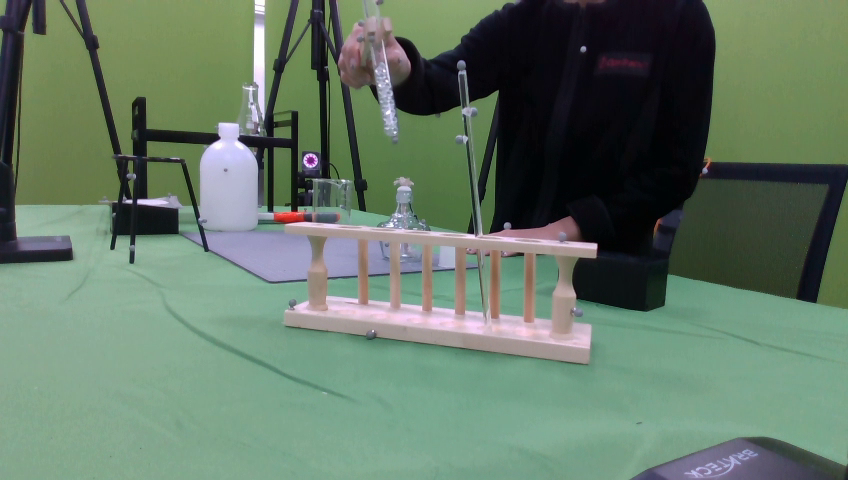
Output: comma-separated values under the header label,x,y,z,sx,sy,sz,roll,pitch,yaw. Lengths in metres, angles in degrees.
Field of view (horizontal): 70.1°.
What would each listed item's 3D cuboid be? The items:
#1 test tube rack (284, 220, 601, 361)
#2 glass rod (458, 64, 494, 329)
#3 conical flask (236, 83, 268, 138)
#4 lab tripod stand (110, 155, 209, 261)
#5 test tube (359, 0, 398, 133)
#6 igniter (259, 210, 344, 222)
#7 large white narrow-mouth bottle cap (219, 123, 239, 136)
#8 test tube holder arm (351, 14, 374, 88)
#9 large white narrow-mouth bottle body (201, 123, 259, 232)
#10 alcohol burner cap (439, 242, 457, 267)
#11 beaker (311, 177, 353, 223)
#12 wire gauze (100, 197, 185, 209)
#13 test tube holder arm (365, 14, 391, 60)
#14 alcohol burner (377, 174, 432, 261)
label,x,y,z,sx,sy,sz,roll,pitch,yaw
test tube rack,0.013,0.032,0.482,0.242,0.085,0.067,4,7,16
glass rod,0.039,-0.029,0.449,0.008,0.199,0.008,-7,9,1
conical flask,-0.400,-0.298,1.396,0.075,0.122,0.075,2,8,0
lab tripod stand,-0.361,-0.046,0.806,0.148,0.131,0.148,2,5,0
test tube,-0.044,-0.175,0.575,0.017,0.150,0.017,-10,-3,0
igniter,-0.303,-0.049,1.258,0.278,0.025,0.057,-2,-2,-28
large white narrow-mouth bottle cap,-0.356,-0.201,1.105,0.038,0.024,0.037,2,8,0
test tube holder arm,-0.067,-0.195,0.641,0.013,0.015,0.178,-6,-3,-13
large white narrow-mouth bottle body,-0.358,-0.116,1.116,0.102,0.194,0.102,2,8,0
alcohol burner cap,0.038,0.011,0.807,0.034,0.048,0.034,3,8,0
beaker,-0.167,-0.064,1.106,0.074,0.100,0.083,-2,9,-27
wire gauze,-0.469,-0.062,1.008,0.126,0.011,0.121,-2,8,-25
test tube holder arm,-0.050,-0.200,0.599,0.010,0.015,0.087,-7,-3,-20
alcohol burner,-0.027,-0.031,0.838,0.078,0.119,0.078,0,6,0
